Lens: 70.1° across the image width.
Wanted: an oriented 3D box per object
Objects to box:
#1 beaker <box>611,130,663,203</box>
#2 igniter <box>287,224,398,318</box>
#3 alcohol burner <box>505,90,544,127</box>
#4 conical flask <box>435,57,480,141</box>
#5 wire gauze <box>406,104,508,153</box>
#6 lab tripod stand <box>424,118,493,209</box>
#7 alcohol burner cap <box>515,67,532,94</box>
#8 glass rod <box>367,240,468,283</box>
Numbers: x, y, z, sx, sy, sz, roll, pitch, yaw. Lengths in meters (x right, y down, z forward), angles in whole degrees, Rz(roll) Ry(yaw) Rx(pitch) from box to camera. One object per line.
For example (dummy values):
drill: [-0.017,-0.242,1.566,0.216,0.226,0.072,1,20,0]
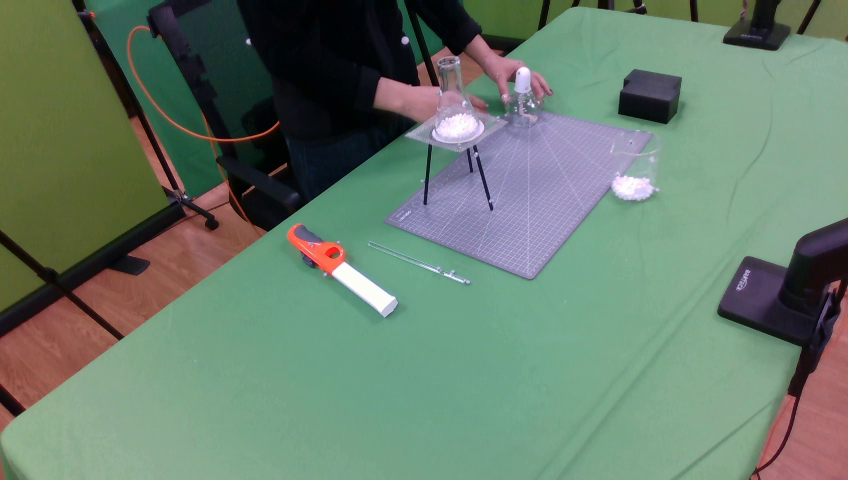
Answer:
beaker: [0.346,-0.118,0.998,0.084,0.101,0.073,-17,40,-7]
igniter: [-0.139,0.042,0.958,0.057,0.025,0.274,-42,49,-19]
alcohol burner: [0.201,-0.288,1.211,0.078,0.119,0.077,-6,38,5]
conical flask: [0.046,-0.225,0.955,0.075,0.122,0.075,-7,39,6]
wire gauze: [0.054,-0.183,0.997,0.120,0.011,0.125,25,53,38]
lab tripod stand: [0.061,-0.133,1.038,0.148,0.132,0.147,-6,38,6]
alcohol burner cap: [0.196,-0.315,1.187,0.034,0.048,0.033,-3,46,3]
glass rod: [-0.014,0.032,0.959,0.198,0.008,0.008,21,49,30]
